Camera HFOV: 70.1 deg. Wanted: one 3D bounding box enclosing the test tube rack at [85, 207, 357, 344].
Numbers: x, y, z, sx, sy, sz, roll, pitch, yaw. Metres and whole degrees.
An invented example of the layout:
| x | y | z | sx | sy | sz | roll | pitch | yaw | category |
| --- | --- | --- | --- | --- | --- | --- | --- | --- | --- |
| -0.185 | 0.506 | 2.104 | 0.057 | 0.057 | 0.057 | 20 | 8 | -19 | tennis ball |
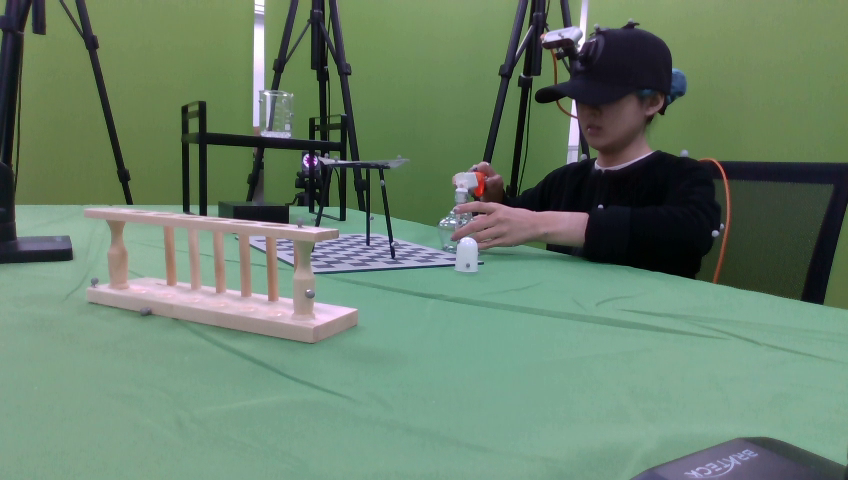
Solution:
| x | y | z | sx | sy | sz | roll | pitch | yaw | category |
| --- | --- | --- | --- | --- | --- | --- | --- | --- | --- |
| -0.177 | 0.022 | 0.518 | 0.241 | 0.085 | 0.067 | 6 | 7 | 23 | test tube rack |

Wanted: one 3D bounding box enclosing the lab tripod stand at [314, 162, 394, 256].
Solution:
| x | y | z | sx | sy | sz | roll | pitch | yaw | category |
| --- | --- | --- | --- | --- | --- | --- | --- | --- | --- |
| -0.098 | -0.048 | 0.897 | 0.148 | 0.131 | 0.148 | 1 | 6 | 0 | lab tripod stand |

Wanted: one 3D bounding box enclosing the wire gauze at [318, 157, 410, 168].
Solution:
| x | y | z | sx | sy | sz | roll | pitch | yaw | category |
| --- | --- | --- | --- | --- | --- | --- | --- | --- | --- |
| -0.090 | -0.114 | 0.888 | 0.122 | 0.011 | 0.124 | 0 | 6 | -15 | wire gauze |

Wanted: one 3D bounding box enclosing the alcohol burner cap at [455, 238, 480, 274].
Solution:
| x | y | z | sx | sy | sz | roll | pitch | yaw | category |
| --- | --- | --- | --- | --- | --- | --- | --- | --- | --- |
| 0.058 | 0.022 | 0.798 | 0.034 | 0.048 | 0.034 | 3 | 6 | 0 | alcohol burner cap |

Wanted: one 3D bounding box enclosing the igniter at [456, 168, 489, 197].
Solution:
| x | y | z | sx | sy | sz | roll | pitch | yaw | category |
| --- | --- | --- | --- | --- | --- | --- | --- | --- | --- |
| 0.093 | -0.107 | 1.123 | 0.025 | 0.057 | 0.277 | -14 | 2 | 14 | igniter |

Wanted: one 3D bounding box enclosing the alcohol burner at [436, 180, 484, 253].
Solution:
| x | y | z | sx | sy | sz | roll | pitch | yaw | category |
| --- | --- | --- | --- | --- | --- | --- | --- | --- | --- |
| 0.059 | -0.037 | 0.981 | 0.078 | 0.119 | 0.078 | 2 | 9 | 0 | alcohol burner |

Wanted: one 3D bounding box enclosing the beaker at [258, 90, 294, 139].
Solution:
| x | y | z | sx | sy | sz | roll | pitch | yaw | category |
| --- | --- | --- | --- | --- | --- | --- | --- | --- | --- |
| -0.324 | -0.274 | 1.331 | 0.083 | 0.100 | 0.074 | 7 | 9 | 24 | beaker |
